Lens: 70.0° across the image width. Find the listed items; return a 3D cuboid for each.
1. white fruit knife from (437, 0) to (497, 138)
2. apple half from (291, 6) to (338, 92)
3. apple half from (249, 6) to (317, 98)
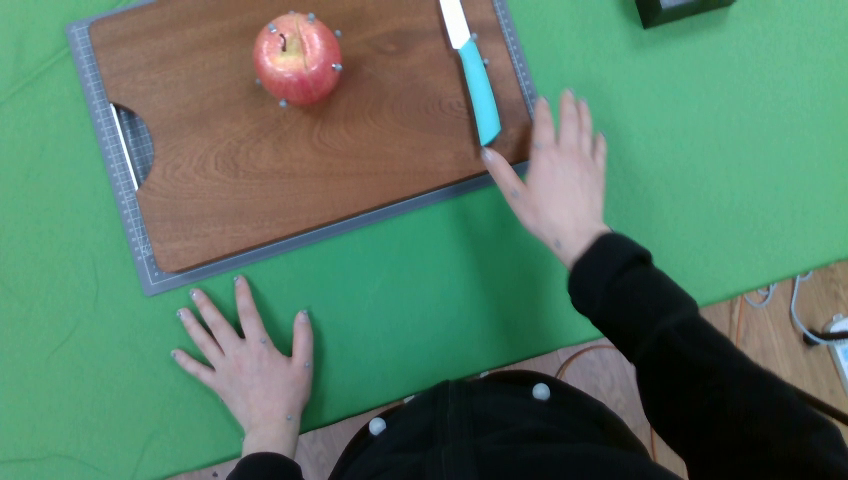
[{"bbox_3d":[0.037,-0.203,0.607,0.027,0.016,0.207,-15,87,-15],"label":"white fruit knife"},{"bbox_3d":[-0.098,-0.182,0.574,0.033,0.081,0.081,-13,87,1],"label":"apple half"},{"bbox_3d":[-0.135,-0.173,0.574,0.053,0.074,0.081,-14,91,3],"label":"apple half"}]
